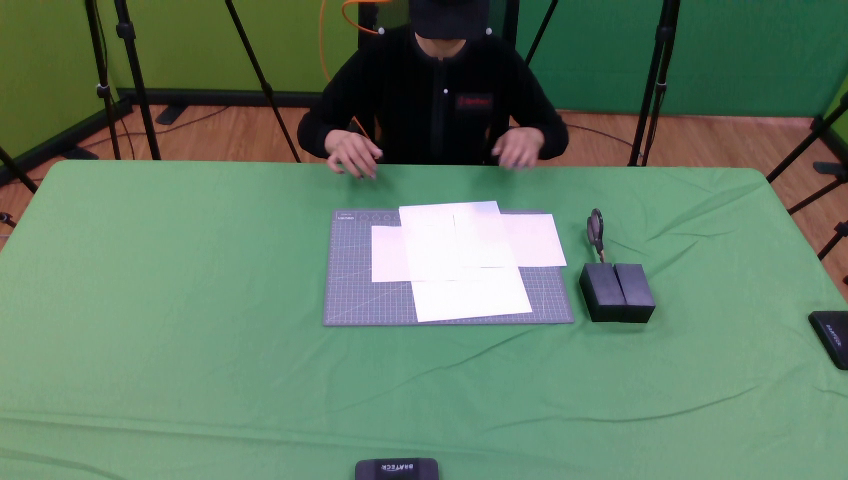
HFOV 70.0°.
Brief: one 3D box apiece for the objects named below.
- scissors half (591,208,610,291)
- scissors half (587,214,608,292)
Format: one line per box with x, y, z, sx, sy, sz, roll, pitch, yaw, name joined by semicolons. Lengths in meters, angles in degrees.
0.346;0.016;1.178;0.013;0.040;0.174;-1;70;-3;scissors half
0.344;0.025;1.194;0.013;0.040;0.174;2;56;-8;scissors half
